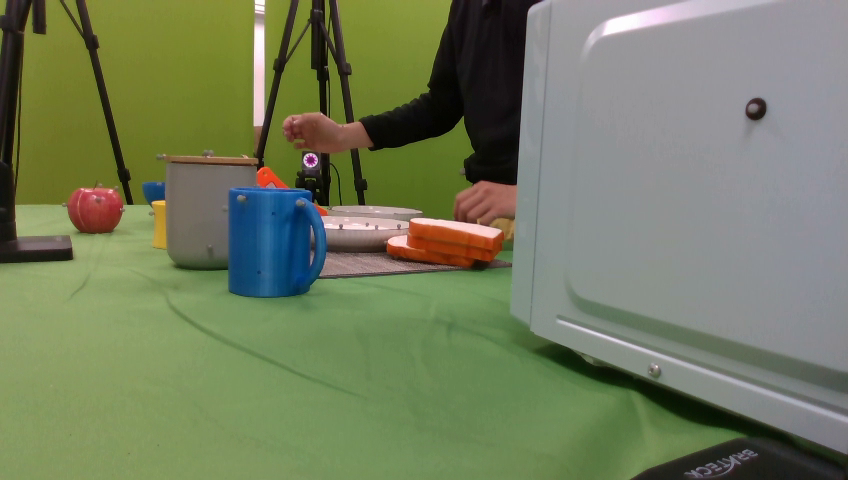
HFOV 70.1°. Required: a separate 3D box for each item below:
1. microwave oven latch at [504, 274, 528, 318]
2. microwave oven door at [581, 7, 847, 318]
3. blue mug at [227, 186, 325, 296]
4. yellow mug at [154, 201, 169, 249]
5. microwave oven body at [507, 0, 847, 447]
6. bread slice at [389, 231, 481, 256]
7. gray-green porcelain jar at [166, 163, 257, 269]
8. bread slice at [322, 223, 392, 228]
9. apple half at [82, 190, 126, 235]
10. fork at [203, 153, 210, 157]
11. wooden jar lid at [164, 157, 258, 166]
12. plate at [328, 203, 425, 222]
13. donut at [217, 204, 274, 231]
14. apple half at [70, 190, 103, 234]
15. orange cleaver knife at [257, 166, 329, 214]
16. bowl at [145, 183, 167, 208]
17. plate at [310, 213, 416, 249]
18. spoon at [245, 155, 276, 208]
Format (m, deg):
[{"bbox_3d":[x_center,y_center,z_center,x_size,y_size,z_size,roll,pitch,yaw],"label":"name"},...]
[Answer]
[{"bbox_3d":[0.100,0.041,0.471,0.079,0.029,0.030,-1,8,-28],"label":"microwave oven latch"},{"bbox_3d":[0.295,-0.067,0.569,0.358,0.243,0.039,-3,8,-31],"label":"microwave oven door"},{"bbox_3d":[-0.146,0.000,0.618,0.116,0.106,0.083,7,9,32],"label":"blue mug"},{"bbox_3d":[-0.337,-0.022,0.899,0.130,0.064,0.100,8,9,34],"label":"yellow mug"},{"bbox_3d":[0.331,-0.042,0.425,0.444,0.260,0.324,-2,8,-31],"label":"microwave oven body"},{"bbox_3d":[0.016,0.005,0.866,0.131,0.019,0.105,4,7,8],"label":"bread slice"},{"bbox_3d":[-0.263,-0.032,0.754,0.106,0.126,0.106,2,7,0],"label":"gray-green porcelain jar"},{"bbox_3d":[-0.116,-0.014,0.975,0.135,0.018,0.106,-6,11,-42],"label":"bread slice"},{"bbox_3d":[-0.516,-0.046,0.994,0.032,0.081,0.081,0,6,26],"label":"apple half"},{"bbox_3d":[-0.480,-0.136,1.411,0.028,0.018,0.207,1,-34,-1],"label":"fork"},{"bbox_3d":[-0.261,-0.093,0.746,0.108,0.020,0.108,0,9,0],"label":"wooden jar lid"},{"bbox_3d":[-0.102,-0.053,1.298,0.209,0.038,0.209,2,7,0],"label":"plate"},{"bbox_3d":[-0.318,-0.038,1.080,0.099,0.048,0.099,2,7,0],"label":"donut"},{"bbox_3d":[-0.552,-0.048,1.010,0.053,0.074,0.081,-1,9,26],"label":"apple half"},{"bbox_3d":[-0.293,-0.086,1.330,0.212,0.077,0.012,34,-15,-39],"label":"orange cleaver knife"},{"bbox_3d":[-0.459,-0.068,1.175,0.151,0.077,0.151,2,7,0],"label":"bowl"},{"bbox_3d":[-0.116,-0.014,0.967,0.208,0.039,0.207,2,7,0],"label":"plate"},{"bbox_3d":[-0.421,-0.150,1.540,0.042,0.193,0.021,-5,-35,-37],"label":"spoon"}]
